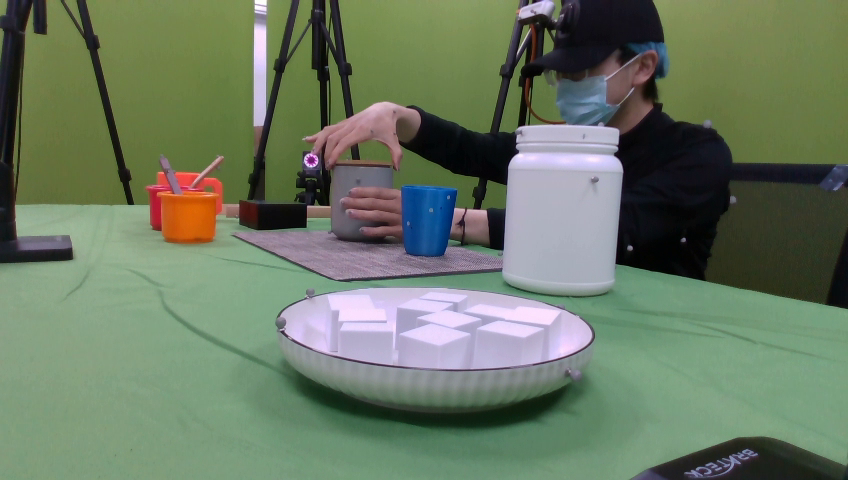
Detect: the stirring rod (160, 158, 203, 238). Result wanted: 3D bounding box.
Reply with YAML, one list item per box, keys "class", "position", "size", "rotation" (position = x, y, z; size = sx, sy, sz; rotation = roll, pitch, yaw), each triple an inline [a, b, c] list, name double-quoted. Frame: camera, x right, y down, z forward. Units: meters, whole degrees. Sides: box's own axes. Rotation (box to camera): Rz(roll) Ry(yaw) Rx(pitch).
- class: "stirring rod"
  position: [-0.391, -0.070, 0.972]
  size: [0.014, 0.006, 0.175]
  rotation: [0, 49, -50]

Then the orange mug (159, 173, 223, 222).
- class: "orange mug"
  position: [-0.477, -0.089, 1.241]
  size: [0.127, 0.101, 0.083]
  rotation: [-8, 11, -33]

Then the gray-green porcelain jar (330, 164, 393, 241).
- class: "gray-green porcelain jar"
  position: [-0.109, -0.065, 1.041]
  size: [0.106, 0.126, 0.106]
  rotation: [3, 8, 0]

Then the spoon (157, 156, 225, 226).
- class: "spoon"
  position: [-0.425, -0.094, 1.117]
  size: [0.041, 0.022, 0.194]
  rotation: [4, 51, 30]

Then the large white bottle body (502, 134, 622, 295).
- class: "large white bottle body"
  position: [0.161, -0.037, 0.706]
  size: [0.131, 0.184, 0.130]
  rotation: [2, 7, 0]

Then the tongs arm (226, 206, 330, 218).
- class: "tongs arm"
  position: [-0.251, -0.062, 1.360]
  size: [0.387, 0.026, 0.050]
  rotation: [-1, 3, -31]

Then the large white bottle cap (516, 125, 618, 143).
- class: "large white bottle cap"
  position: [0.164, -0.120, 0.695]
  size: [0.115, 0.018, 0.115]
  rotation: [2, 7, 0]

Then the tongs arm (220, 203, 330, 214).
- class: "tongs arm"
  position: [-0.288, -0.069, 1.435]
  size: [0.389, 0.027, 0.028]
  rotation: [0, -1, -17]

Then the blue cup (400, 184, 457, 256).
- class: "blue cup"
  position: [0.003, -0.030, 0.901]
  size: [0.093, 0.100, 0.092]
  rotation: [4, 8, 0]

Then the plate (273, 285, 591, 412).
- class: "plate"
  position: [0.005, 0.069, 0.408]
  size: [0.208, 0.039, 0.207]
  rotation: [2, 7, 0]

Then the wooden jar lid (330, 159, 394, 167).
- class: "wooden jar lid"
  position: [-0.105, -0.126, 1.033]
  size: [0.108, 0.020, 0.108]
  rotation: [0, 6, 0]
